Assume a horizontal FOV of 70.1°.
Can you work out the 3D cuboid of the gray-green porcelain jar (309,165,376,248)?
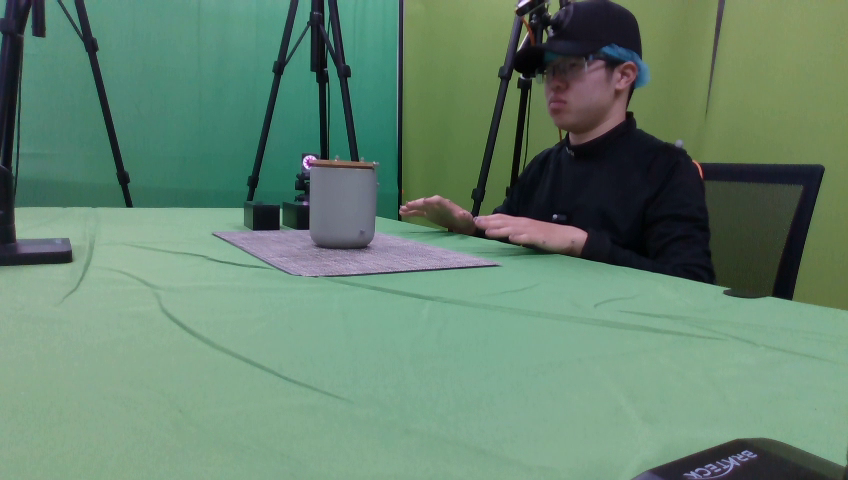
[{"bbox_3d":[-0.130,-0.054,0.966,0.106,0.126,0.106,2,7,0],"label":"gray-green porcelain jar"}]

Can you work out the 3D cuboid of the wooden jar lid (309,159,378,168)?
[{"bbox_3d":[-0.128,-0.117,0.957,0.108,0.020,0.108,3,7,0],"label":"wooden jar lid"}]
